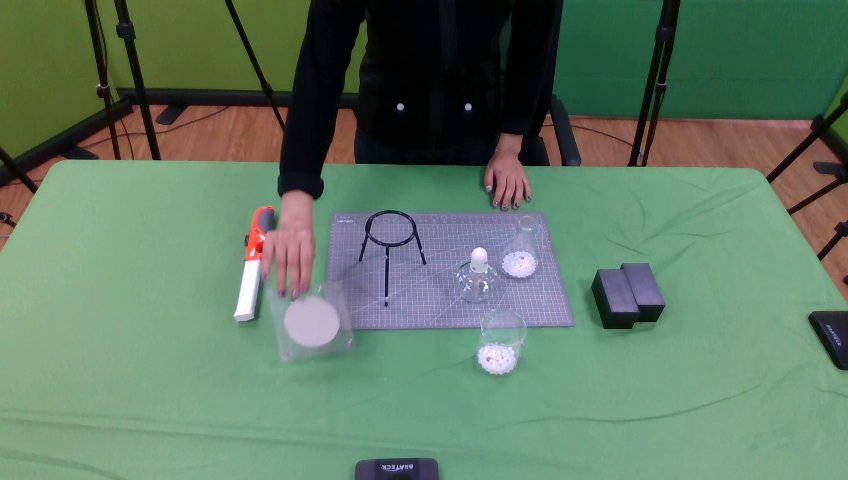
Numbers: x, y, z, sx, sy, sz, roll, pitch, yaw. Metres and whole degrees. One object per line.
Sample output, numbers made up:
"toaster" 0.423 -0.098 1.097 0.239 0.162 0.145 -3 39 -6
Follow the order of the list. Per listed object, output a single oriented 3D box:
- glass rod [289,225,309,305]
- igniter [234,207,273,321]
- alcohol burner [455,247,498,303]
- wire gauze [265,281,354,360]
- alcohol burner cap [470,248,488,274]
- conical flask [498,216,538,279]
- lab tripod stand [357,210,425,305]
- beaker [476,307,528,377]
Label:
"glass rod" -0.236 0.042 1.149 0.008 0.008 0.198 3 47 -1
"igniter" -0.318 0.035 1.137 0.057 0.025 0.274 -8 46 3
"alcohol burner" 0.095 0.058 1.084 0.078 0.120 0.077 1 47 -1
"wire gauze" -0.181 0.126 0.959 0.125 0.121 0.011 -7 14 1
"alcohol burner cap" 0.095 0.034 1.057 0.034 0.048 0.033 -3 52 4
"conical flask" 0.183 0.010 1.132 0.075 0.122 0.075 2 46 -2
"lab tripod stand" -0.060 0.020 1.094 0.148 0.132 0.147 3 44 -2
"beaker" 0.122 0.171 0.991 0.084 0.101 0.073 -34 56 -31
